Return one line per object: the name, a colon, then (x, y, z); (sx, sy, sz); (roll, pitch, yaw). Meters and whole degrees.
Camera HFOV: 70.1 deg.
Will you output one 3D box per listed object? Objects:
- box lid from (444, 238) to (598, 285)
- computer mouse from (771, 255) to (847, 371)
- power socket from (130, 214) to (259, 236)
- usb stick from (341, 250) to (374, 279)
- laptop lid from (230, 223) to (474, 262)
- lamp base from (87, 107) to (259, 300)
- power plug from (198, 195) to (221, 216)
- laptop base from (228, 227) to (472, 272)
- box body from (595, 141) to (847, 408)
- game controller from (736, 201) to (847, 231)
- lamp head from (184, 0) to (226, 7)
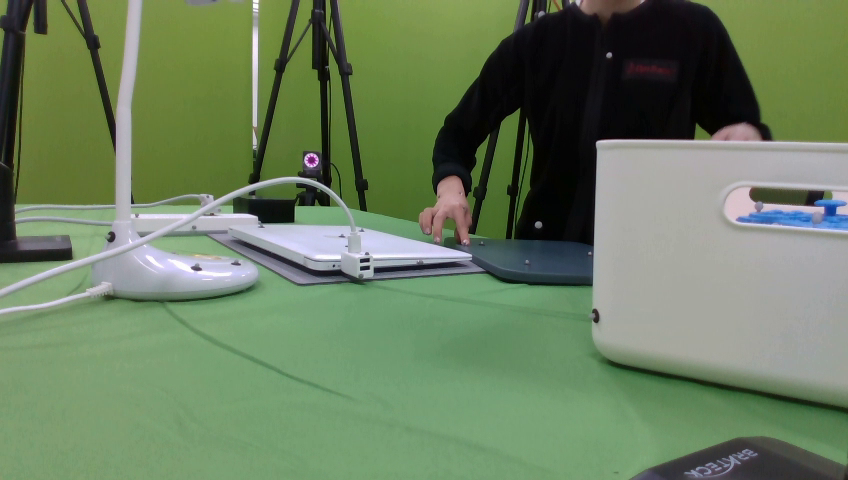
box lid: (0.191, 0.028, 0.905); (0.264, 0.015, 0.370); (2, 6, -12)
computer mouse: (0.345, 0.057, 0.519); (0.063, 0.041, 0.117); (12, 47, 4)
power socket: (-0.397, -0.028, 1.048); (0.228, 0.032, 0.072); (-3, 7, -35)
usb stick: (-0.078, 0.026, 0.686); (0.021, 0.027, 0.059); (-8, 8, -30)
laptop lid: (-0.121, 0.000, 0.888); (0.243, 0.013, 0.355); (1, 7, -33)
lamp base: (-0.254, -0.039, 0.603); (0.160, 0.180, 0.179); (5, 10, 18)
power plug: (-0.386, -0.055, 1.088); (0.035, 0.052, 0.072); (-1, 6, -24)
laptop base: (-0.124, 0.011, 0.889); (0.237, 0.023, 0.352); (2, 6, -35)
box body: (0.309, 0.007, 0.510); (0.253, 0.160, 0.366); (6, 8, 29)
game controller: (0.291, 0.000, 0.426); (0.097, 0.051, 0.155); (-1, 7, 5)
lamp head: (-0.229, -0.320, 0.627); (0.112, 0.112, 0.123); (6, -35, 26)
